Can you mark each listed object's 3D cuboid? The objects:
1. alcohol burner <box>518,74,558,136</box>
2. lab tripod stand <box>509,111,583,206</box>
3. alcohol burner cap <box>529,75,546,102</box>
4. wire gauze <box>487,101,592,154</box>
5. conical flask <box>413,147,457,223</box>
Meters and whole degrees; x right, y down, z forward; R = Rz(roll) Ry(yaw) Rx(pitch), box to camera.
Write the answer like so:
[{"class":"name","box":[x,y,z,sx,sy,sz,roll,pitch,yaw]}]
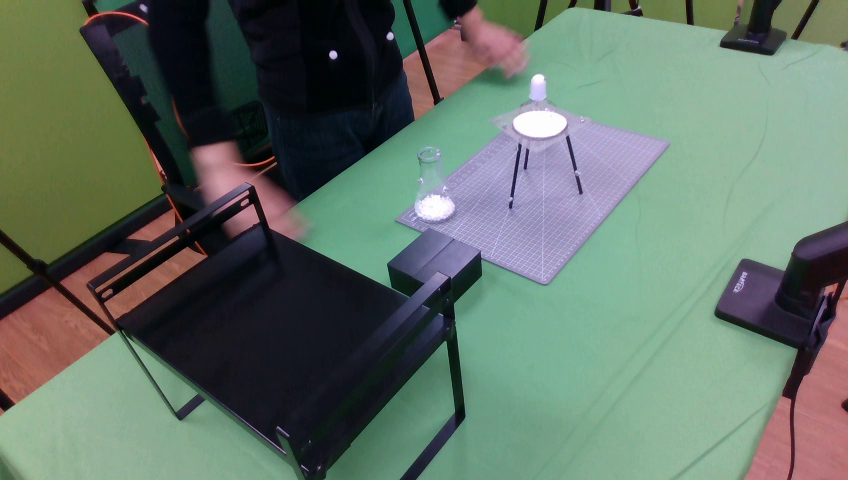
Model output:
[{"class":"alcohol burner","box":[0.222,-0.265,1.179,0.078,0.119,0.077,-5,39,5]},{"class":"lab tripod stand","box":[0.197,-0.139,1.019,0.148,0.132,0.147,-3,39,3]},{"class":"alcohol burner cap","box":[0.218,-0.292,1.156,0.034,0.048,0.033,-4,46,4]},{"class":"wire gauze","box":[0.185,-0.187,0.973,0.122,0.011,0.124,-27,44,-23]},{"class":"conical flask","box":[0.013,-0.094,1.002,0.075,0.122,0.075,-5,41,4]}]
